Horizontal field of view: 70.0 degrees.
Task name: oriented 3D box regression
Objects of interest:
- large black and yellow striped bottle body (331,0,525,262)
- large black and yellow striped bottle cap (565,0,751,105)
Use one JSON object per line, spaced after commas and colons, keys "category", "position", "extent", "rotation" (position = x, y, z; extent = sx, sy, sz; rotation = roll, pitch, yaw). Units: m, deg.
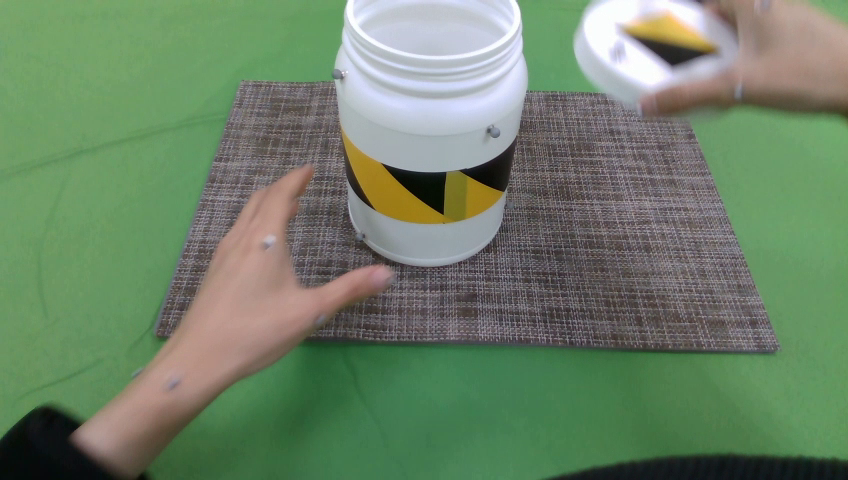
{"category": "large black and yellow striped bottle body", "position": [0.002, -0.086, 0.442], "extent": [0.131, 0.185, 0.129], "rotation": [1, 51, -1]}
{"category": "large black and yellow striped bottle cap", "position": [0.147, -0.129, 0.384], "extent": [0.115, 0.019, 0.114], "rotation": [5, 52, -6]}
